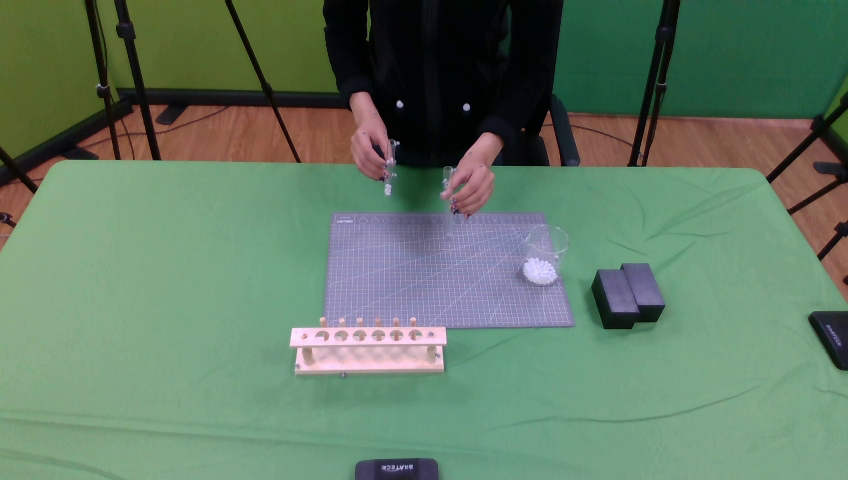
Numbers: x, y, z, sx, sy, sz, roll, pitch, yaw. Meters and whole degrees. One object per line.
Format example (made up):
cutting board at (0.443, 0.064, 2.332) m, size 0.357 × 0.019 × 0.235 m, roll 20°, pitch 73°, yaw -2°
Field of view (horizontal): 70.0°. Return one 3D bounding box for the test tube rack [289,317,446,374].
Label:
test tube rack at (-0.089, 0.167, 0.987) m, size 0.242 × 0.085 × 0.066 m, roll 0°, pitch 46°, yaw -4°

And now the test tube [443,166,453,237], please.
test tube at (0.042, -0.064, 1.065) m, size 0.017 × 0.151 × 0.017 m, roll -1°, pitch 40°, yaw 1°

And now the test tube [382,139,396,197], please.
test tube at (-0.066, -0.131, 1.133) m, size 0.017 × 0.151 × 0.017 m, roll 4°, pitch 54°, yaw -5°

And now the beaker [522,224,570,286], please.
beaker at (0.221, 0.032, 1.129) m, size 0.084 × 0.101 × 0.073 m, roll -6°, pitch 46°, yaw -9°
